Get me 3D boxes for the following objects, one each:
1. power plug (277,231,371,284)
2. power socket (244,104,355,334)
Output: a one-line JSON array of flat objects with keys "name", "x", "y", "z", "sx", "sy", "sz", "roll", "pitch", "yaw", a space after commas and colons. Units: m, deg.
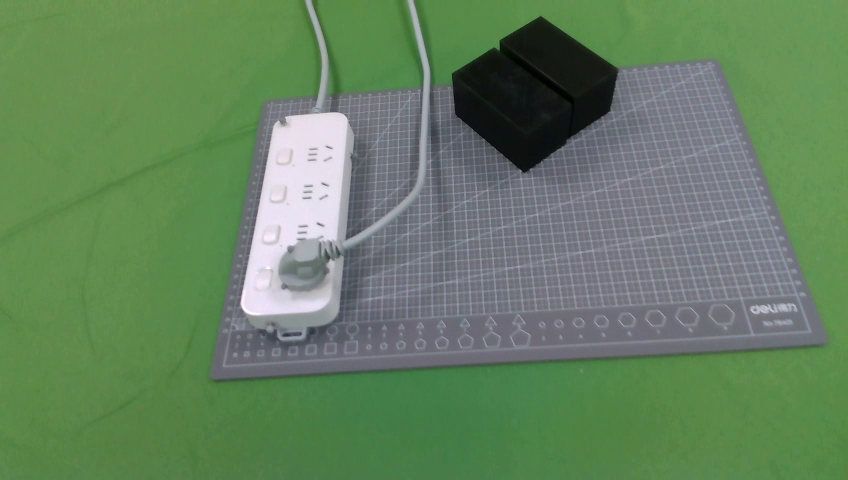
[{"name": "power plug", "x": -0.075, "y": 0.018, "z": 0.454, "sx": 0.072, "sy": 0.053, "sz": 0.035, "roll": 7, "pitch": 58, "yaw": 11}, {"name": "power socket", "x": -0.101, "y": -0.030, "z": 0.516, "sx": 0.072, "sy": 0.033, "sz": 0.224, "roll": -3, "pitch": 57, "yaw": 5}]
